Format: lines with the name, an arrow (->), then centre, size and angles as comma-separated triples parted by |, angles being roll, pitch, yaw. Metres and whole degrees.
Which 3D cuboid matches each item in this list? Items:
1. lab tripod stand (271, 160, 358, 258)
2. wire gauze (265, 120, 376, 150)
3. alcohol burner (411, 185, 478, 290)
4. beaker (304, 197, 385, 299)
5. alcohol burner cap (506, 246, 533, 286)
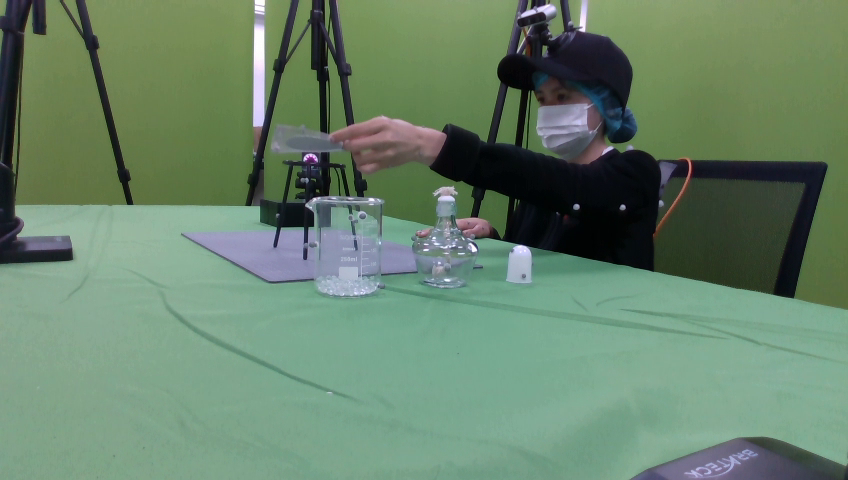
lab tripod stand -> -0.159, -0.048, 0.876 | 0.148, 0.131, 0.148 | 3, 5, 0
wire gauze -> -0.153, -0.154, 0.882 | 0.122, 0.011, 0.124 | -3, -8, -36
alcohol burner -> 0.024, -0.004, 0.697 | 0.078, 0.119, 0.078 | 0, 7, 0
beaker -> -0.083, 0.007, 0.629 | 0.084, 0.100, 0.073 | -1, 7, -21
alcohol burner cap -> 0.118, 0.032, 0.739 | 0.034, 0.048, 0.034 | 1, 8, 0
